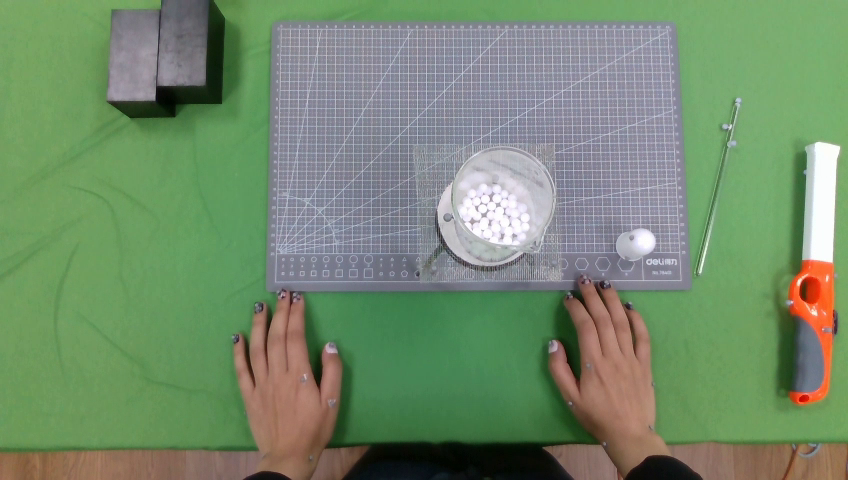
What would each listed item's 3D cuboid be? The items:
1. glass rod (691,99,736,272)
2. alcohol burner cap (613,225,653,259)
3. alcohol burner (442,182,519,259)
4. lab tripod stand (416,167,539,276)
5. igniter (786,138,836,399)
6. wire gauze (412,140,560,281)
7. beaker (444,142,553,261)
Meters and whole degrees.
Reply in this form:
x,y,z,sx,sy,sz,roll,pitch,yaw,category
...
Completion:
x,y,z,sx,sy,sz,roll,pitch,yaw,category
0.315,-0.061,0.658,0.008,0.008,0.199,16,83,1,glass rod
0.220,0.001,0.630,0.034,0.048,0.033,0,81,1,alcohol burner cap
0.058,-0.023,0.595,0.078,0.119,0.077,0,80,-1,alcohol burner
0.052,-0.014,0.583,0.148,0.132,0.148,0,82,1,lab tripod stand
0.410,0.029,0.639,0.057,0.025,0.275,9,83,-11,igniter
0.052,-0.026,0.519,0.125,0.011,0.121,-1,81,2,wire gauze
0.055,-0.022,0.470,0.074,0.100,0.083,-32,83,-5,beaker
